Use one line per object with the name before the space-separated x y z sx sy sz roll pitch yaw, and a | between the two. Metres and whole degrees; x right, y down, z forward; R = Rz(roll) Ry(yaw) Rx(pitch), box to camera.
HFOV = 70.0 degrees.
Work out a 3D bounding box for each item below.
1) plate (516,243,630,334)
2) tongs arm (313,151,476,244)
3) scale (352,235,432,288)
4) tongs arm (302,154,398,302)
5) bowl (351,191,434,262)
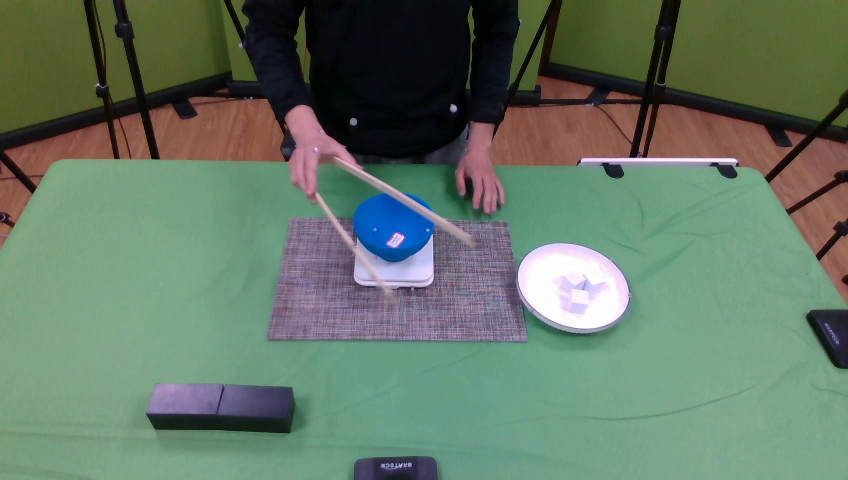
plate | 0.272 0.092 1.120 0.208 0.039 0.206 2 46 -2
tongs arm | -0.058 -0.077 0.972 0.028 0.028 0.385 -46 49 -15
scale | -0.060 0.010 1.171 0.149 0.032 0.199 2 46 -3
tongs arm | -0.118 -0.033 0.954 0.051 0.027 0.382 -35 46 -10
bowl | -0.057 -0.013 1.119 0.151 0.077 0.150 2 46 -1
